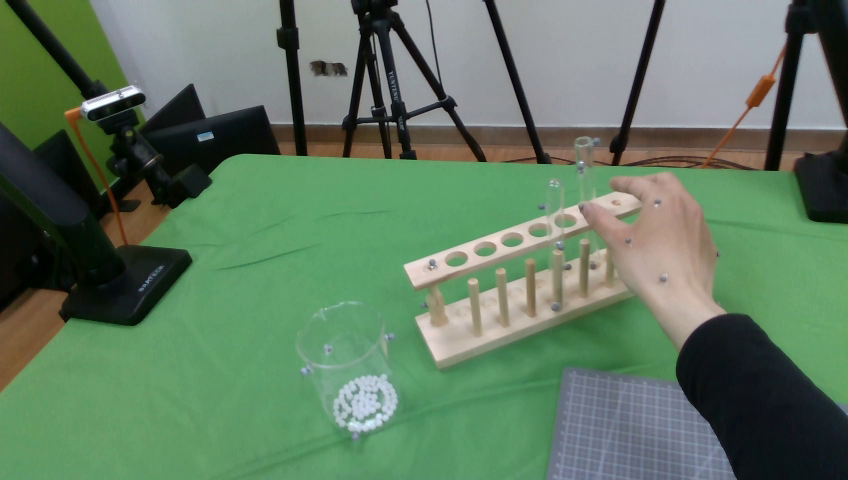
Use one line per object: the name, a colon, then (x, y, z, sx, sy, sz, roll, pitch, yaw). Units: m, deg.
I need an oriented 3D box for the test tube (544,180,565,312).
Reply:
test tube: (0.121, 0.009, 0.559, 0.017, 0.152, 0.017, -7, 38, 6)

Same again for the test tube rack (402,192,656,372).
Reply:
test tube rack: (0.108, 0.039, 0.598, 0.242, 0.086, 0.066, -19, 39, -10)

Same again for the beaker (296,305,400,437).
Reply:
beaker: (-0.064, 0.115, 0.530, 0.074, 0.101, 0.083, -28, 41, -21)

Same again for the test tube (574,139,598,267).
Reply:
test tube: (0.160, -0.031, 0.593, 0.017, 0.152, 0.017, -10, 39, 8)
